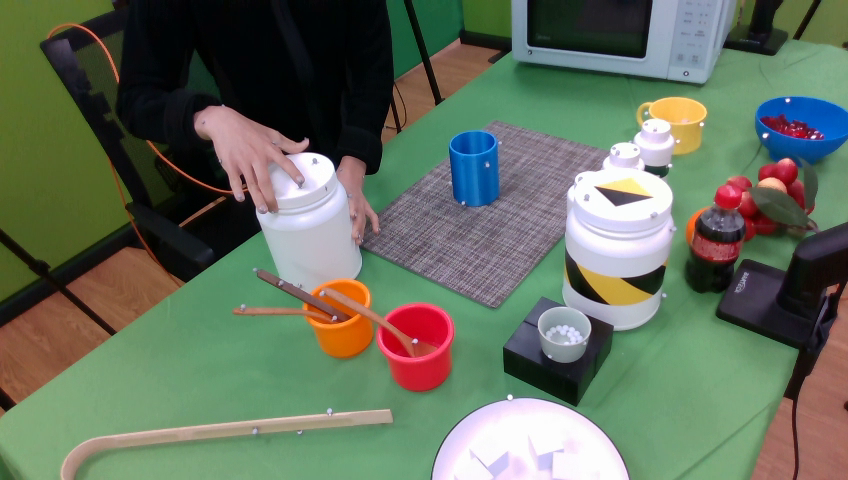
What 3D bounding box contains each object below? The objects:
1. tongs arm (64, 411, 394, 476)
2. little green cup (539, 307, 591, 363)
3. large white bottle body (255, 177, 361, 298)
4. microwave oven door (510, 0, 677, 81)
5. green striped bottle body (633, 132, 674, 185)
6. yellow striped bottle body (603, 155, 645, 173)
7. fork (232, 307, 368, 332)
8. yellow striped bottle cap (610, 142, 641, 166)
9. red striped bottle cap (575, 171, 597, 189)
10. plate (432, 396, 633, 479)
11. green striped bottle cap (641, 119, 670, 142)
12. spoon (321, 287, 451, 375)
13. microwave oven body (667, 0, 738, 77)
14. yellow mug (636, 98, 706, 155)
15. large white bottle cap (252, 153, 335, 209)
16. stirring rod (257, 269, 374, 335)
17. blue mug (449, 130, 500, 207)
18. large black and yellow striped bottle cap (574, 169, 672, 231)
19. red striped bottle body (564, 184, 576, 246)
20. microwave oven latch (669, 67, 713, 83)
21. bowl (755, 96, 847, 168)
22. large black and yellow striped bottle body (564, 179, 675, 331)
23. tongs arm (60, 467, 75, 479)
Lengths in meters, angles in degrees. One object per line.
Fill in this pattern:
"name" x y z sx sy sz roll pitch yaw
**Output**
"tongs arm" -0.228 0.241 0.715 0.385 0.026 0.050 -5 43 4
"little green cup" 0.167 0.114 0.721 0.061 0.039 0.061 -4 43 4
"large white bottle body" -0.172 -0.018 0.898 0.130 0.185 0.130 -4 40 4
"microwave oven door" 0.353 -0.478 1.290 0.353 0.245 0.039 15 45 25
"green striped bottle body" 0.376 -0.135 1.001 0.063 0.120 0.063 -5 40 5
"yellow striped bottle body" 0.314 -0.091 0.957 0.063 0.121 0.062 -4 40 4
"fork" -0.152 0.101 0.781 0.209 0.018 0.028 18 19 -45
"yellow striped bottle cap" 0.309 -0.131 0.925 0.044 0.019 0.044 -4 45 5
"red striped bottle cap" 0.242 -0.081 0.876 0.044 0.018 0.044 -5 44 5
"plate" 0.112 0.261 0.634 0.209 0.038 0.208 -5 40 4
"green striped bottle cap" 0.371 -0.175 0.968 0.044 0.020 0.044 -5 42 5
"spoon" -0.046 0.111 0.757 0.194 0.021 0.041 38 47 -15
"microwave oven body" 0.462 -0.552 1.369 0.439 0.261 0.326 15 45 26
"yellow mug" 0.453 -0.217 1.128 0.100 0.064 0.129 -34 46 -27
"large white bottle cap" -0.181 -0.084 0.842 0.115 0.018 0.114 -4 40 4
"stirring rod" -0.143 0.084 0.808 0.177 0.006 0.014 30 42 -19
"blue mug" 0.089 -0.132 1.049 0.082 0.106 0.116 0 40 9
"large black and yellow striped bottle cap" 0.242 -0.051 0.738 0.115 0.019 0.114 -4 37 3
"red striped bottle body" 0.247 -0.041 0.910 0.063 0.120 0.062 -3 39 3
"microwave oven latch" 0.556 -0.348 1.262 0.078 0.029 0.030 15 46 26
"bowl" 0.645 -0.177 1.041 0.151 0.077 0.150 -5 40 4
"large black and yellow striped bottle body" 0.253 0.014 0.793 0.131 0.185 0.130 -5 40 4
"tongs arm" -0.239 0.301 0.648 0.386 0.028 0.028 6 49 16
